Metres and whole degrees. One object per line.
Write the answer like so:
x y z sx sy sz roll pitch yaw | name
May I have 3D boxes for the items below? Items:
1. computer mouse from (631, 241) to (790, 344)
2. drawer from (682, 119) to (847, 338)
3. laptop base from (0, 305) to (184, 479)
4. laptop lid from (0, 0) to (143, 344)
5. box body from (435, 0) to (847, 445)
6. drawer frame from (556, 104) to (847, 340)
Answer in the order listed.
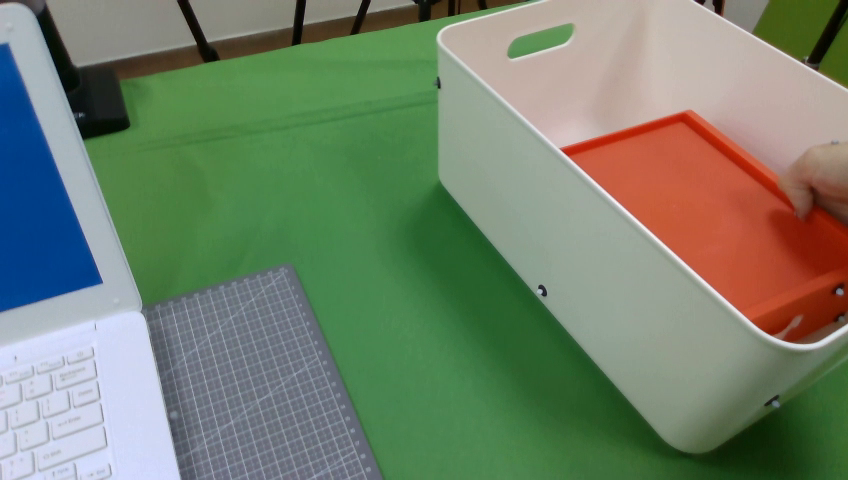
0.227 0.039 0.480 0.117 0.041 0.062 -15 55 -8 | computer mouse
0.205 -0.001 0.497 0.195 0.074 0.209 -19 48 -16 | drawer
-0.326 0.182 0.351 0.355 0.023 0.233 -18 55 -19 | laptop base
-0.396 -0.005 0.377 0.357 0.243 0.013 -19 22 -18 | laptop lid
0.196 -0.049 0.500 0.254 0.162 0.360 -22 53 -22 | box body
0.203 -0.004 0.496 0.202 0.083 0.211 -19 49 -16 | drawer frame
